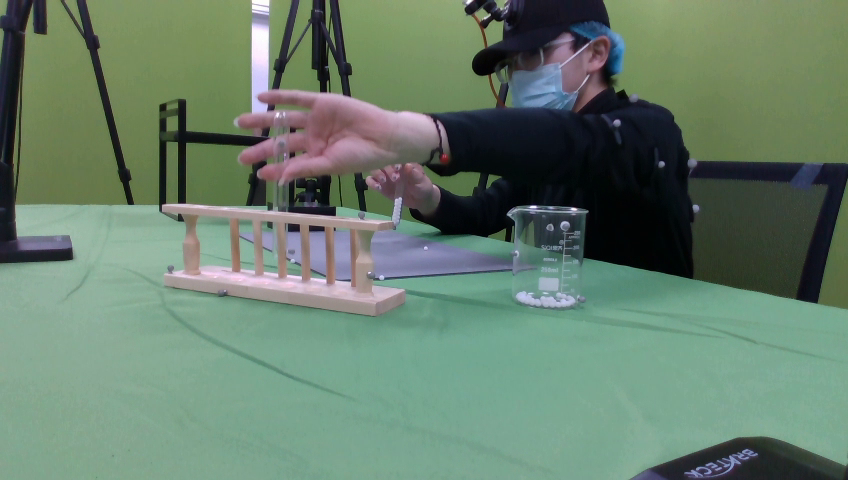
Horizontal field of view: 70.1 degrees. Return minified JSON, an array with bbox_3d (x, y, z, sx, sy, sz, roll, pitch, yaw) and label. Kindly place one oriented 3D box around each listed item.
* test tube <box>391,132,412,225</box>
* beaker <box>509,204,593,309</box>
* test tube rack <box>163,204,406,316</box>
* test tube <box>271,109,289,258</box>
[{"bbox_3d":[-0.036,-0.098,0.974,0.017,0.150,0.017,8,10,-1],"label":"test tube"},{"bbox_3d":[0.125,0.015,0.613,0.084,0.100,0.074,1,7,-5],"label":"beaker"},{"bbox_3d":[-0.141,0.013,0.601,0.241,0.085,0.067,5,8,21],"label":"test tube rack"},{"bbox_3d":[-0.146,-0.056,0.612,0.017,0.150,0.017,2,10,0],"label":"test tube"}]
